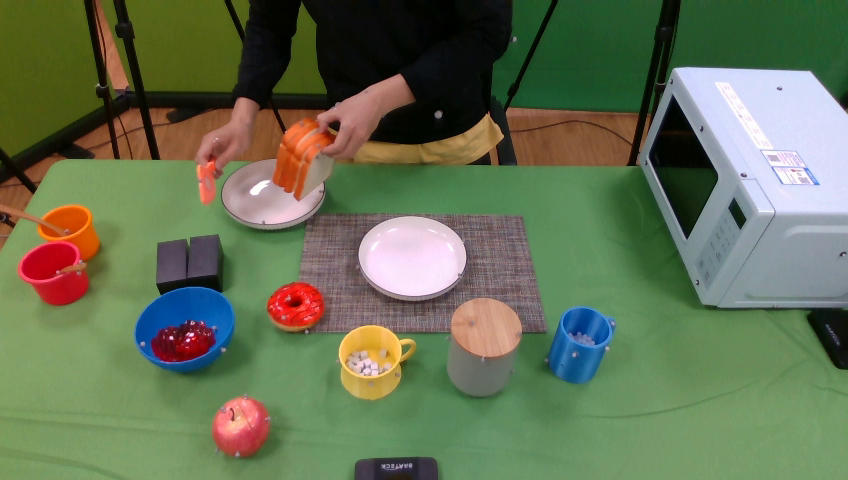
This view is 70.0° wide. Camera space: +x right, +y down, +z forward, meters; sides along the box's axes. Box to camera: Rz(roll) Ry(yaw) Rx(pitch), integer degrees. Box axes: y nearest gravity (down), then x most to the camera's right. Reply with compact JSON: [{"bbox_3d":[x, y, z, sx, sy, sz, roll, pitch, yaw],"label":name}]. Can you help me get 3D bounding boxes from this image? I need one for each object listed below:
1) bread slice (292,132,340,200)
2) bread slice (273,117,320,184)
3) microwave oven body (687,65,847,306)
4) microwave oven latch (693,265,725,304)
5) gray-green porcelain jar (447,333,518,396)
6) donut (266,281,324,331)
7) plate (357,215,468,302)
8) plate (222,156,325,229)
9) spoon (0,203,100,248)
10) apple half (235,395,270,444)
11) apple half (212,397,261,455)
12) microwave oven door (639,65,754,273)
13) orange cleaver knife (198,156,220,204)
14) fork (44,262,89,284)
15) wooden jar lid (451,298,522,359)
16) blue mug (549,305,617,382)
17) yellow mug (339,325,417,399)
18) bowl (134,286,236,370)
[{"bbox_3d":[-0.205,-0.146,1.159,0.018,0.134,0.107,36,51,5],"label":"bread slice"},{"bbox_3d":[-0.244,-0.179,1.164,0.019,0.132,0.104,36,46,9],"label":"bread slice"},{"bbox_3d":[0.669,-0.111,1.176,0.326,0.261,0.439,0,46,-3],"label":"microwave oven body"},{"bbox_3d":[0.522,0.081,1.115,0.030,0.029,0.078,2,46,-1],"label":"microwave oven latch"},{"bbox_3d":[0.091,0.178,0.960,0.106,0.127,0.105,2,46,-2],"label":"gray-green porcelain jar"},{"bbox_3d":[-0.222,0.114,1.049,0.099,0.048,0.098,2,45,-2],"label":"donut"},{"bbox_3d":[-0.022,0.037,1.141,0.208,0.039,0.206,2,46,-2],"label":"plate"},{"bbox_3d":[-0.308,-0.095,1.251,0.209,0.038,0.208,3,47,-2],"label":"plate"},{"bbox_3d":[-0.683,-0.031,1.088,0.195,0.021,0.041,33,33,-38],"label":"spoon"},{"bbox_3d":[-0.245,0.259,0.893,0.033,0.082,0.081,-29,55,-22],"label":"apple half"},{"bbox_3d":[-0.276,0.276,0.877,0.053,0.075,0.080,-29,58,-21],"label":"apple half"},{"bbox_3d":[0.522,-0.147,1.192,0.039,0.245,0.353,0,47,-3],"label":"microwave oven door"},{"bbox_3d":[-0.397,-0.115,1.128,0.012,0.077,0.210,-7,17,-9],"label":"orange cleaver knife"},{"bbox_3d":[-0.599,0.053,1.014,0.207,0.019,0.028,-14,30,45],"label":"fork"},{"bbox_3d":[0.093,0.135,0.914,0.108,0.021,0.107,2,48,-3],"label":"wooden jar lid"},{"bbox_3d":[0.269,0.166,0.998,0.116,0.106,0.082,-19,51,-21],"label":"blue mug"},{"bbox_3d":[-0.072,0.190,0.978,0.131,0.064,0.099,-17,50,-20],"label":"yellow mug"},{"bbox_3d":[-0.377,0.155,0.981,0.151,0.077,0.150,2,46,-2],"label":"bowl"}]
